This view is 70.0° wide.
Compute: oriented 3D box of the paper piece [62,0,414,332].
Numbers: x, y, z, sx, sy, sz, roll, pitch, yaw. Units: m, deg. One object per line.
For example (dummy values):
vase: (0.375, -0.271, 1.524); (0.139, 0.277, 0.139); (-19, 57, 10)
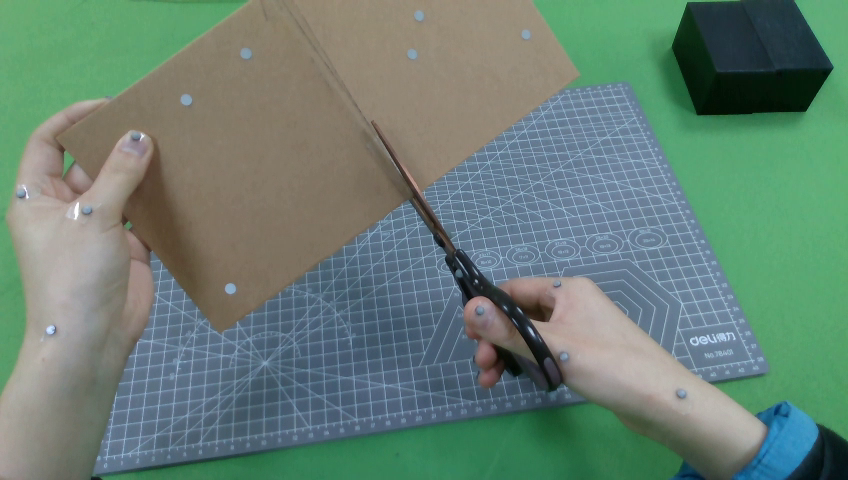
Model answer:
paper piece: (-0.100, -0.041, 0.331); (0.138, 0.008, 0.136); (-35, 94, 2)

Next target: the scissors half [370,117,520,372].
scissors half: (0.014, 0.006, 0.351); (0.013, 0.176, 0.039); (-33, 20, -6)

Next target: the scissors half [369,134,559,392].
scissors half: (0.017, 0.005, 0.326); (0.013, 0.040, 0.174); (-32, 71, -10)

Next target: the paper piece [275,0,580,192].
paper piece: (0.006, -0.118, 0.346); (0.135, 0.004, 0.135); (-36, 96, -15)
